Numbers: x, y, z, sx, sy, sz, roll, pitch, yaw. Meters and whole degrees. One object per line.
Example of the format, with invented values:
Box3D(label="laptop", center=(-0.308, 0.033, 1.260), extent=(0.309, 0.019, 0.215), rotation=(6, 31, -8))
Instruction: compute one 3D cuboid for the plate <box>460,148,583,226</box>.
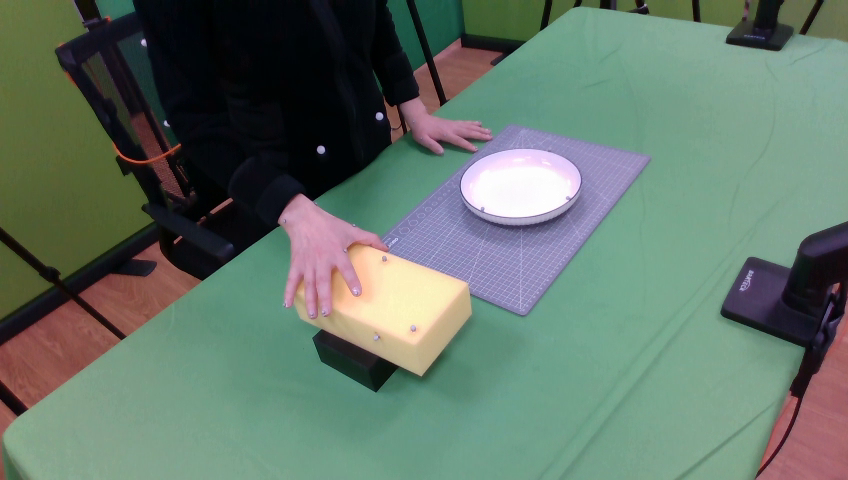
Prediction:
Box3D(label="plate", center=(0.166, -0.089, 1.043), extent=(0.209, 0.038, 0.208), rotation=(-5, 40, 5))

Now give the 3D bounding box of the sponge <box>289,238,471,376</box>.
Box3D(label="sponge", center=(-0.057, 0.081, 0.794), extent=(0.205, 0.061, 0.118), rotation=(18, 48, 29))
